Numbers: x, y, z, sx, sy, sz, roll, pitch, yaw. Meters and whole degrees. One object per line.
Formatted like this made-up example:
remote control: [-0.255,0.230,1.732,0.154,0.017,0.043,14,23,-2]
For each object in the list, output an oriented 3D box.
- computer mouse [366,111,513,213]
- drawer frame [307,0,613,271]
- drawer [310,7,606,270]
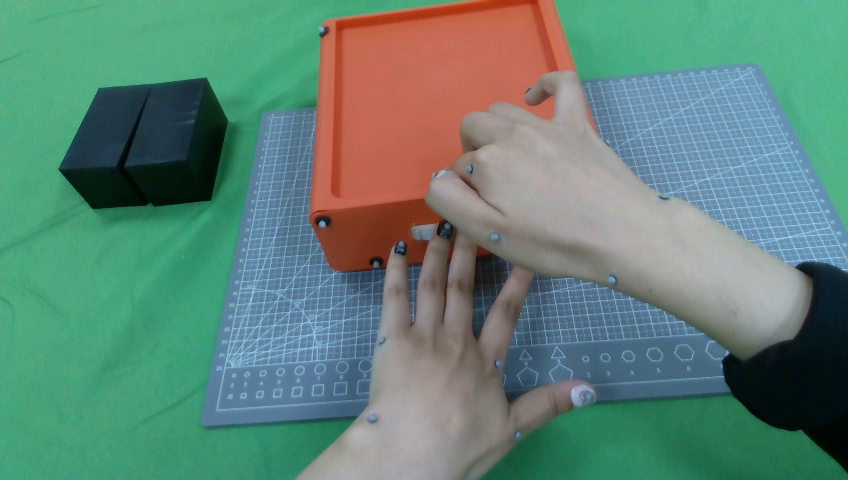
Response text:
computer mouse: [0.009,-0.060,0.460,0.117,0.041,0.062,-12,54,17]
drawer frame: [0.019,-0.090,0.475,0.201,0.083,0.211,-8,53,3]
drawer: [0.019,-0.087,0.475,0.194,0.074,0.209,-7,53,4]
